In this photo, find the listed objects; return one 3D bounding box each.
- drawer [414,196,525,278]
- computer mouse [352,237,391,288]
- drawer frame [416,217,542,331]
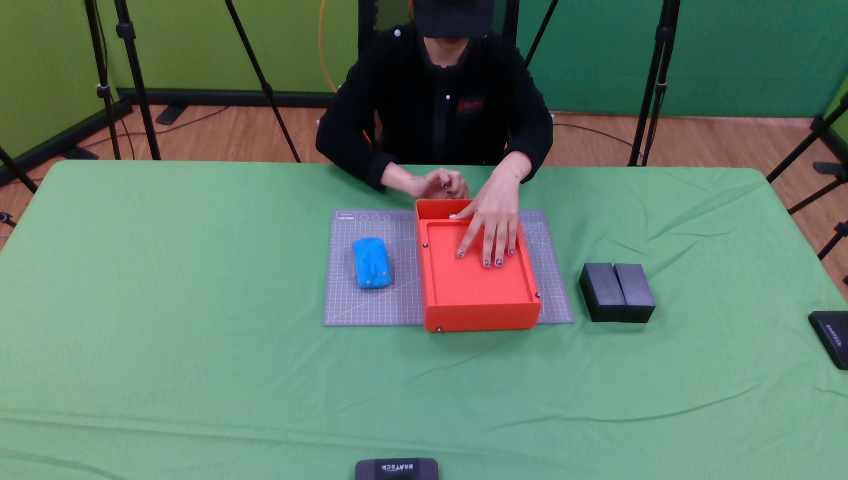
[{"bbox_3d":[0.086,0.012,1.147,0.195,0.073,0.210,-1,47,-6],"label":"drawer"},{"bbox_3d":[-0.100,0.039,1.140,0.063,0.041,0.116,-5,51,-11],"label":"computer mouse"},{"bbox_3d":[0.092,0.056,1.105,0.202,0.083,0.212,-1,47,-6],"label":"drawer frame"}]
